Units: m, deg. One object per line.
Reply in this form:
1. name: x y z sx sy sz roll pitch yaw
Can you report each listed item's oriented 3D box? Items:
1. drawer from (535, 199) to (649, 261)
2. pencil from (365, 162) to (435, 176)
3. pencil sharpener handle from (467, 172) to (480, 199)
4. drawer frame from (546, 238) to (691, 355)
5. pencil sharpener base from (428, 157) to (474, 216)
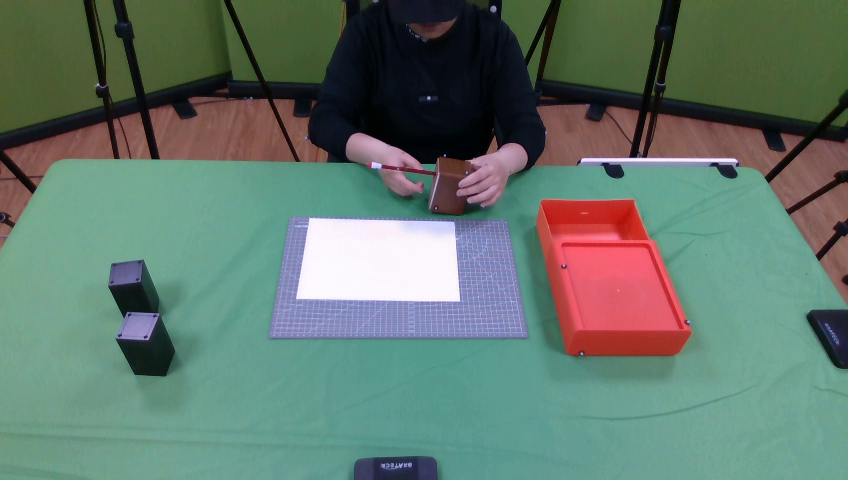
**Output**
1. drawer: 0.332 0.015 1.169 0.195 0.073 0.210 0 46 -5
2. pencil: -0.021 -0.138 1.214 0.194 0.012 0.012 7 45 -7
3. pencil sharpener handle: 0.107 -0.110 1.244 0.031 0.068 0.036 8 50 -7
4. drawer frame: 0.338 0.097 1.086 0.202 0.083 0.212 0 46 -4
5. pencil sharpener base: 0.054 -0.108 1.244 0.077 0.107 0.061 8 43 -7
